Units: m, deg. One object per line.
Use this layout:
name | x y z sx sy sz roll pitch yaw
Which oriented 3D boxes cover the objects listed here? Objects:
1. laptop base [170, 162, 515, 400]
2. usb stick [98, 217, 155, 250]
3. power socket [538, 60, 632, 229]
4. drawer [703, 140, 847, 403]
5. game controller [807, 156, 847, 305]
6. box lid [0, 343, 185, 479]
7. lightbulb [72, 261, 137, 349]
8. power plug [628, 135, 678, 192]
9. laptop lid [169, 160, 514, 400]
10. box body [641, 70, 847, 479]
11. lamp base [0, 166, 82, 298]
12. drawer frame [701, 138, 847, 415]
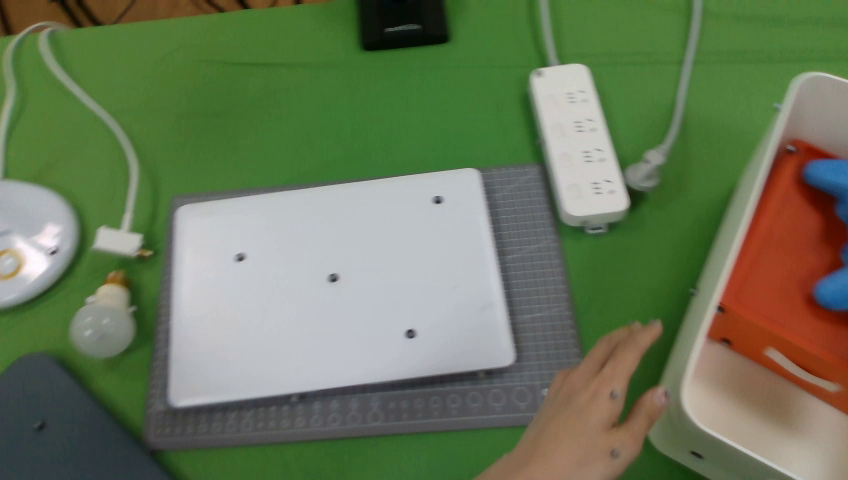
laptop base | -0.094 0.038 0.661 0.354 0.023 0.233 -7 68 1
usb stick | -0.334 -0.005 0.685 0.059 0.021 0.027 18 68 -24
power socket | 0.185 -0.120 0.708 0.072 0.033 0.225 -5 64 0
drawer | 0.402 0.035 0.581 0.193 0.074 0.211 31 73 18
game controller | 0.410 -0.012 0.550 0.097 0.052 0.154 12 67 4
box lid | -0.359 0.292 0.564 0.369 0.015 0.263 36 72 18
lightbulb | -0.335 0.066 0.648 0.059 0.060 0.106 -7 49 1
power plug | 0.262 -0.081 0.681 0.073 0.053 0.035 -21 59 -25
laptop lid | -0.094 0.035 0.649 0.357 0.013 0.239 -6 67 1
box body | 0.380 0.065 0.535 0.253 0.161 0.363 26 69 15
lamp base | -0.492 -0.050 0.640 0.160 0.182 0.177 -31 63 -10
drawer frame | 0.397 0.036 0.584 0.200 0.083 0.213 32 67 15
